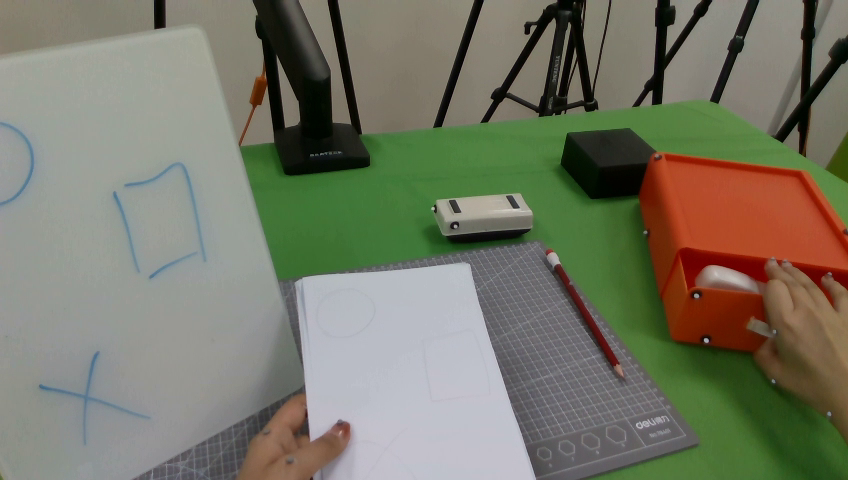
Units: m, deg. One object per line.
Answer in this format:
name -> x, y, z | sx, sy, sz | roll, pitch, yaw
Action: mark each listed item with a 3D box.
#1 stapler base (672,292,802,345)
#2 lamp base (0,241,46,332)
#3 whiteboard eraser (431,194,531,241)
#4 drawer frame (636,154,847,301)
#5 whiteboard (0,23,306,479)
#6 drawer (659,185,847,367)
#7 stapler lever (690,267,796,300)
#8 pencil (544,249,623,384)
stapler base -> 0.324, 0.074, 0.622 | 0.130, 0.024, 0.041 | 14, 34, 0
lamp base -> -0.458, -0.012, 0.533 | 0.178, 0.182, 0.160 | 15, 37, 18
whiteboard eraser -> 0.069, -0.027, 0.731 | 0.113, 0.042, 0.055 | -4, 38, -12
drawer frame -> 0.364, -0.008, 0.702 | 0.201, 0.083, 0.212 | 7, 36, 5
whiteboard -> -0.251, 0.013, 0.466 | 0.217, 0.307, 0.142 | -24, 26, -32
drawer -> 0.355, 0.028, 0.655 | 0.194, 0.074, 0.210 | 8, 36, 6
stapler lever -> 0.329, 0.056, 0.611 | 0.118, 0.040, 0.026 | 11, 34, 2
pencil -> 0.163, 0.072, 0.629 | 0.012, 0.012, 0.192 | -5, 40, -12
